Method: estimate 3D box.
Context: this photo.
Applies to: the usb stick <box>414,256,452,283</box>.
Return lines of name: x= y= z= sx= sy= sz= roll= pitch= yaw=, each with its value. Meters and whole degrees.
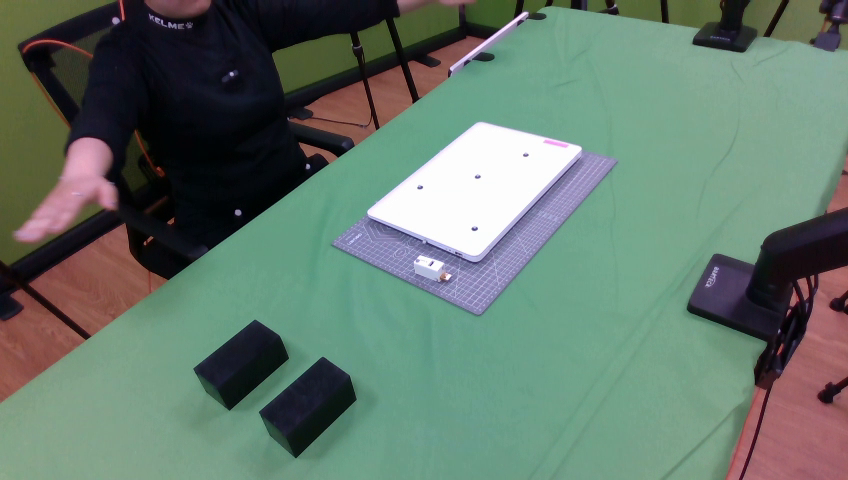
usb stick: x=0.015 y=0.046 z=0.905 sx=0.059 sy=0.027 sz=0.021 roll=22 pitch=48 yaw=25

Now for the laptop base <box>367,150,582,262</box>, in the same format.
laptop base: x=0.098 y=-0.097 z=1.071 sx=0.233 sy=0.023 sz=0.355 roll=20 pitch=47 yaw=33

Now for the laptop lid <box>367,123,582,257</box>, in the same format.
laptop lid: x=0.095 y=-0.106 z=1.065 sx=0.239 sy=0.013 sz=0.358 roll=23 pitch=48 yaw=34
